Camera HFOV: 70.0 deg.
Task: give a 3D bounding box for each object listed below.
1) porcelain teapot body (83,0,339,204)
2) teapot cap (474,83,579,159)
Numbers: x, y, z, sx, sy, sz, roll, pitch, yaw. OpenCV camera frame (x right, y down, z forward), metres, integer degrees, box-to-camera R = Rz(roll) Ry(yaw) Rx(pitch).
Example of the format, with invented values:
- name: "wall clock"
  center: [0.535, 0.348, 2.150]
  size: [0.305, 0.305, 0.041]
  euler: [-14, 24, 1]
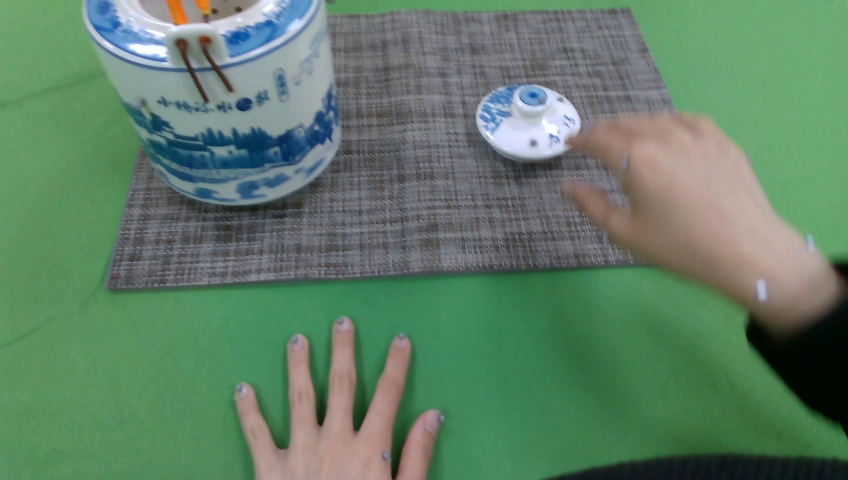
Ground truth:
- name: "porcelain teapot body"
  center: [-0.141, -0.160, 0.410]
  size: [0.145, 0.227, 0.203]
  euler: [-8, 56, -8]
- name: "teapot cap"
  center: [0.084, -0.102, 0.491]
  size: [0.085, 0.044, 0.084]
  euler: [0, 55, 1]
